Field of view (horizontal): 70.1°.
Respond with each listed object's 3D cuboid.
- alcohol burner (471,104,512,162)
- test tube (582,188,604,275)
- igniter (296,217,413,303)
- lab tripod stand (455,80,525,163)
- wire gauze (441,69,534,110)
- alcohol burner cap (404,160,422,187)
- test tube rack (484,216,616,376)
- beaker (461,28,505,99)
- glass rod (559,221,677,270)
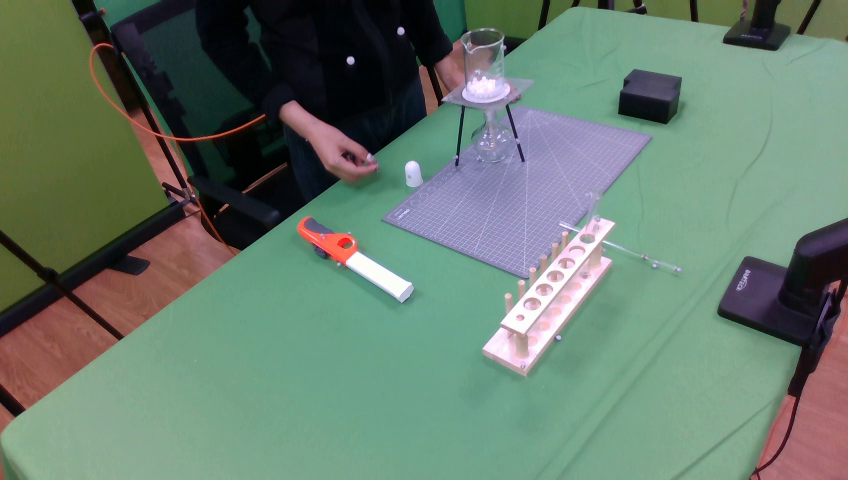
[{"bbox_3d":[0.125,-0.207,1.126,0.078,0.119,0.077,-5,42,5],"label":"alcohol burner"},{"bbox_3d":[0.228,-0.007,0.821,0.017,0.151,0.017,-3,42,3],"label":"test tube"},{"bbox_3d":[-0.121,0.025,0.970,0.274,0.025,0.057,29,63,37],"label":"igniter"},{"bbox_3d":[0.120,-0.219,1.126,0.148,0.132,0.147,-4,40,4],"label":"lab tripod stand"},{"bbox_3d":[0.114,-0.268,1.082,0.120,0.011,0.125,22,47,28],"label":"wire gauze"},{"bbox_3d":[-0.022,-0.125,1.118,0.034,0.048,0.033,-4,41,4],"label":"alcohol burner cap"},{"bbox_3d":[0.174,0.064,0.823,0.066,0.085,0.243,23,49,33],"label":"test tube rack"},{"bbox_3d":[0.103,-0.304,1.051,0.073,0.101,0.084,19,48,29],"label":"beaker"},{"bbox_3d":[0.292,0.007,0.927,0.198,0.008,0.008,26,52,36],"label":"glass rod"}]
